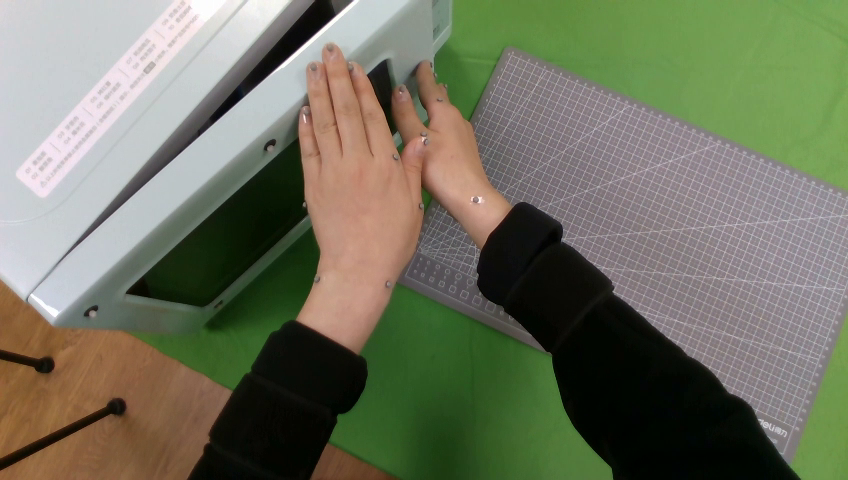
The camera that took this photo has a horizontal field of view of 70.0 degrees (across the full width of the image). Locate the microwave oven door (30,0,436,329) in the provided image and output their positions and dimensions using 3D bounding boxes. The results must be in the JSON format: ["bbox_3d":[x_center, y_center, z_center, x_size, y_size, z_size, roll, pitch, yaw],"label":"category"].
[{"bbox_3d":[-0.130,-0.057,0.538,0.355,0.244,0.039,-44,82,-5],"label":"microwave oven door"}]

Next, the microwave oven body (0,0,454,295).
[{"bbox_3d":[-0.230,-0.194,0.566,0.325,0.261,0.441,39,85,6],"label":"microwave oven body"}]

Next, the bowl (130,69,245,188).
[{"bbox_3d":[-0.237,-0.112,0.585,0.151,0.077,0.150,-1,78,3],"label":"bowl"}]

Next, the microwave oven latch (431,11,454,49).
[{"bbox_3d":[0.000,-0.221,0.663,0.030,0.029,0.079,41,85,6],"label":"microwave oven latch"}]
